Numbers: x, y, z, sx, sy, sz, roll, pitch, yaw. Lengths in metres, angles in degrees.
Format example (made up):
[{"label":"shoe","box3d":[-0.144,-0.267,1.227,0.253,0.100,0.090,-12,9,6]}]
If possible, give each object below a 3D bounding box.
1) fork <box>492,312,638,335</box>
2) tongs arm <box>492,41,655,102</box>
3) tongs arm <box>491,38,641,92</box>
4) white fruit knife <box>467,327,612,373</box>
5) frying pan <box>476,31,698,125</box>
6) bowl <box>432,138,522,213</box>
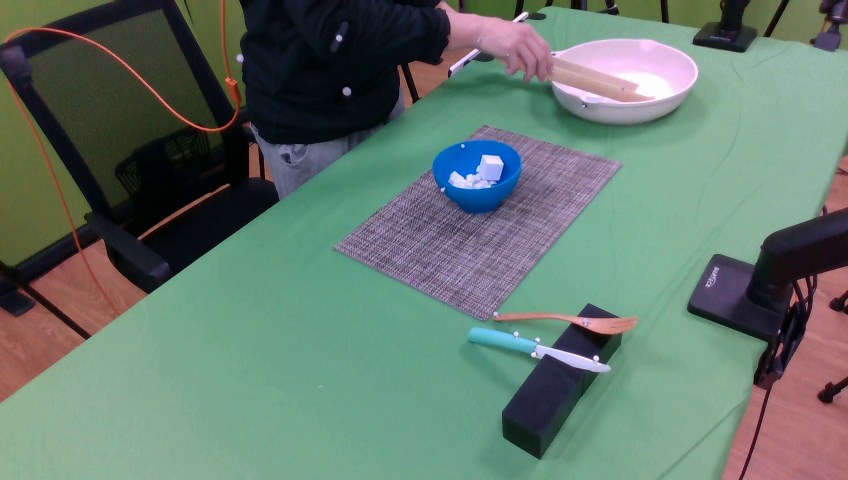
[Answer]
[{"label":"fork","box3d":[0.173,0.103,0.774,0.206,0.019,0.028,0,38,40]},{"label":"tongs arm","box3d":[0.295,-0.297,1.119,0.388,0.026,0.050,6,39,-30]},{"label":"tongs arm","box3d":[0.280,-0.327,1.152,0.391,0.028,0.028,4,43,-32]},{"label":"white fruit knife","box3d":[0.134,0.134,0.742,0.205,0.027,0.016,7,35,41]},{"label":"frying pan","box3d":[0.321,-0.371,1.290,0.484,0.103,0.307,29,51,24]},{"label":"bowl","box3d":[0.091,-0.099,1.021,0.151,0.077,0.150,-4,41,4]}]
